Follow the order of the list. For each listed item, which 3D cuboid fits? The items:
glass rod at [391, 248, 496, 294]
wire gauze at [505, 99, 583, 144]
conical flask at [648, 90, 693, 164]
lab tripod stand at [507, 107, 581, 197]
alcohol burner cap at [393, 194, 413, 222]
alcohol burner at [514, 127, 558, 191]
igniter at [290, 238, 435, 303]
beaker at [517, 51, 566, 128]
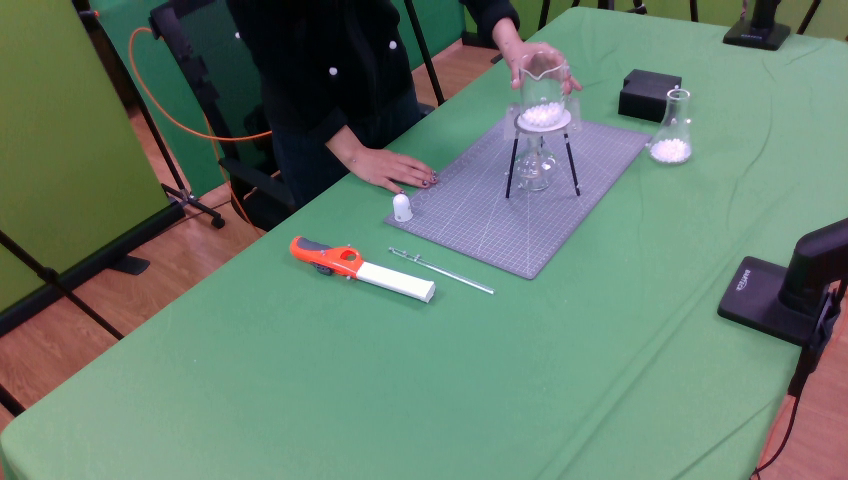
[{"bbox_3d":[0.026,0.046,0.937,0.198,0.008,0.008,22,50,31],"label":"glass rod"},{"bbox_3d":[0.195,-0.199,0.988,0.121,0.011,0.124,-3,41,13],"label":"wire gauze"},{"bbox_3d":[0.437,-0.199,1.057,0.075,0.122,0.075,-5,40,5],"label":"conical flask"},{"bbox_3d":[0.201,-0.151,1.033,0.148,0.132,0.147,-7,39,6],"label":"lab tripod stand"},{"bbox_3d":[-0.038,-0.056,1.038,0.034,0.048,0.033,-5,40,5],"label":"alcohol burner cap"},{"bbox_3d":[0.192,-0.145,1.043,0.078,0.119,0.077,-5,42,5],"label":"alcohol burner"},{"bbox_3d":[-0.106,0.044,0.949,0.274,0.025,0.057,16,56,28],"label":"igniter"},{"bbox_3d":[0.187,-0.235,0.957,0.073,0.101,0.084,4,42,18],"label":"beaker"}]
